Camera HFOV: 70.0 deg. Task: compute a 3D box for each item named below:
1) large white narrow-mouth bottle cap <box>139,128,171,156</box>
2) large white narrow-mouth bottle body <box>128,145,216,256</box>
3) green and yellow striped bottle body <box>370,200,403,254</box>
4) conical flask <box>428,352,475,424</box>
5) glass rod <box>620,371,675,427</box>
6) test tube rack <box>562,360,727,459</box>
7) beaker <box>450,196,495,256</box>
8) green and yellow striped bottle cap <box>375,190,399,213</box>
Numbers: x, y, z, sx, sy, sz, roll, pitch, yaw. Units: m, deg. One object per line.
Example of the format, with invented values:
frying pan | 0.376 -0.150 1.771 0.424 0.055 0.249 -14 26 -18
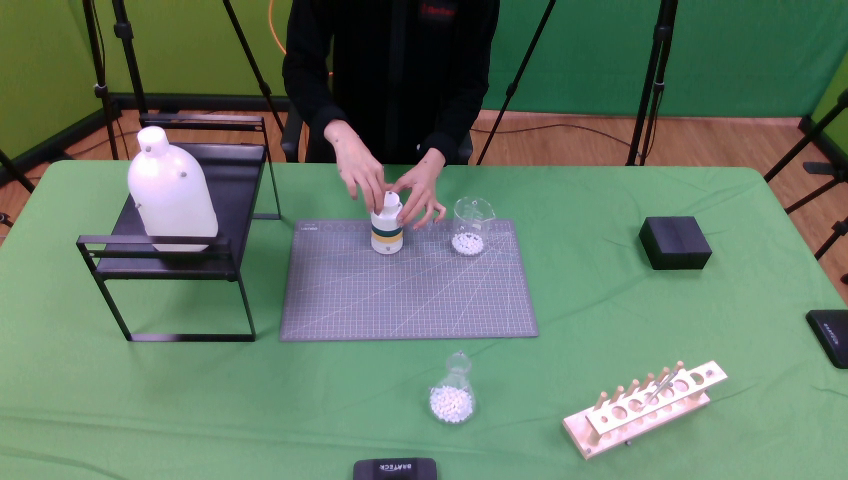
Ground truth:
large white narrow-mouth bottle cap | -0.358 -0.131 0.808 0.038 0.024 0.037 3 47 -3
large white narrow-mouth bottle body | -0.366 -0.073 0.872 0.102 0.195 0.101 3 47 -3
green and yellow striped bottle body | -0.072 -0.035 1.154 0.063 0.120 0.063 2 46 -2
conical flask | 0.046 0.220 0.920 0.075 0.122 0.075 2 46 -2
glass rod | 0.316 0.230 0.863 0.008 0.200 0.008 3 54 -3
test tube rack | 0.341 0.247 0.940 0.243 0.085 0.066 -16 49 -18
beaker | 0.091 -0.024 1.170 0.084 0.101 0.073 15 48 10
green and yellow striped bottle cap | -0.068 -0.071 1.116 0.045 0.020 0.045 1 46 -1
